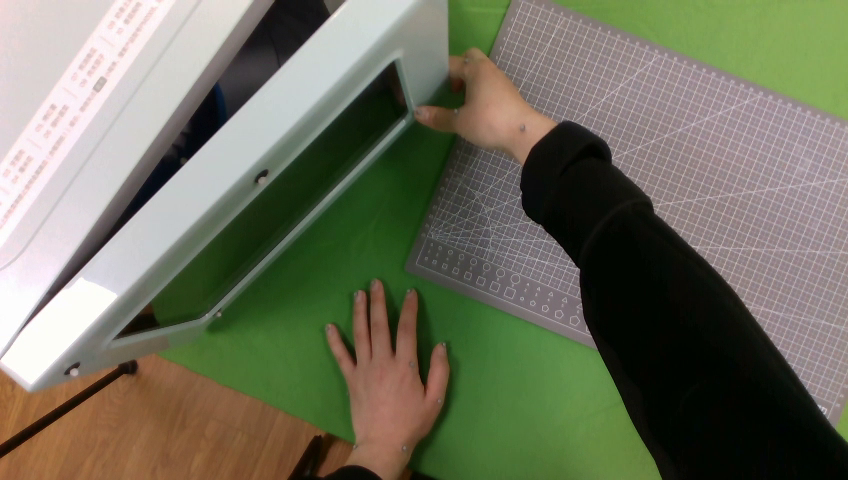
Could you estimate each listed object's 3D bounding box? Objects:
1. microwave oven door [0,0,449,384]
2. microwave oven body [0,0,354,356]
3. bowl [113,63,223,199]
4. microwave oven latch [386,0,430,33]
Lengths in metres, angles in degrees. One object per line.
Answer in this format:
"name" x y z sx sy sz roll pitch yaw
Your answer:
"microwave oven door" -0.119 -0.044 0.473 0.356 0.244 0.039 -45 88 1
"microwave oven body" -0.232 -0.183 0.481 0.326 0.260 0.441 36 92 1
"bowl" -0.234 -0.104 0.512 0.151 0.077 0.151 0 87 3
"microwave oven latch" -0.004 -0.238 0.571 0.030 0.029 0.079 38 92 1
